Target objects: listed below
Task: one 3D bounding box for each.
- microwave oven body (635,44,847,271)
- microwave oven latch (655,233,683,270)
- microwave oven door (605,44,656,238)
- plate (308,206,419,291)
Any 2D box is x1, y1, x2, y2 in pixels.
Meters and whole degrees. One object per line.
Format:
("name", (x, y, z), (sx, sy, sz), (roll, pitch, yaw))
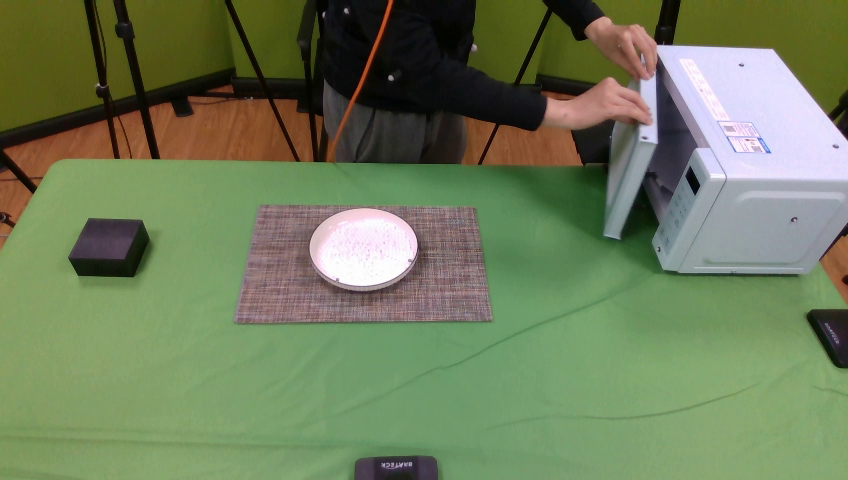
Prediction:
("microwave oven body", (0.620, -0.172, 1.234), (0.326, 0.261, 0.439), (0, 46, -3))
("microwave oven latch", (0.473, 0.021, 1.175), (0.030, 0.029, 0.078), (2, 46, -1))
("microwave oven door", (0.428, -0.212, 1.252), (0.039, 0.245, 0.354), (12, 47, 7))
("plate", (-0.114, 0.019, 1.154), (0.209, 0.038, 0.208), (2, 47, -2))
